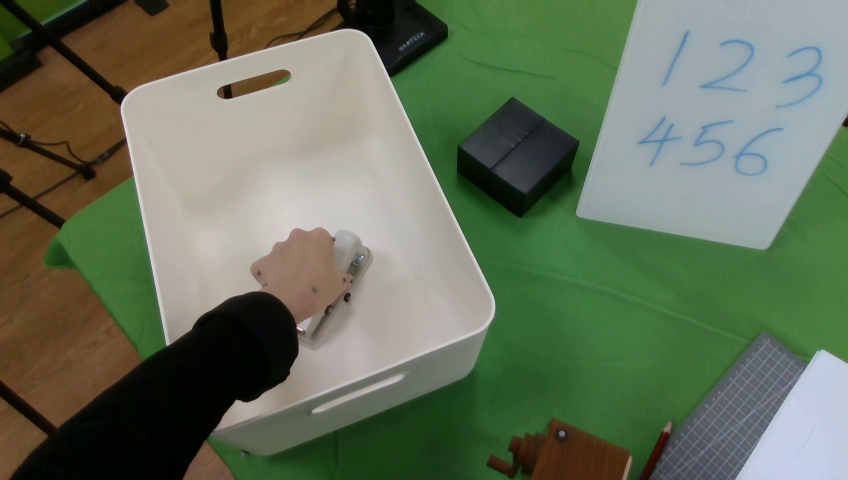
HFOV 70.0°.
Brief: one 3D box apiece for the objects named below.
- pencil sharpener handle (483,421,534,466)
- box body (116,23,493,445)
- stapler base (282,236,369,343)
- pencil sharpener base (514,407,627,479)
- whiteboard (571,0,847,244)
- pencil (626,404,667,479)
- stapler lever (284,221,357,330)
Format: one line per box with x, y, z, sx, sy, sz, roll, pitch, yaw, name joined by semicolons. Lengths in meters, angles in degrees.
0.071;0.175;0.525;0.030;0.068;0.036;22;49;12;pencil sharpener handle
-0.119;-0.009;0.605;0.254;0.161;0.360;-20;64;-9;box body
-0.105;0.044;0.648;0.041;0.024;0.130;22;67;16;stapler base
0.120;0.196;0.528;0.076;0.108;0.061;22;65;12;pencil sharpener base
0.300;-0.170;0.639;0.217;0.308;0.143;11;44;7;whiteboard
0.185;0.234;0.559;0.012;0.012;0.193;30;67;16;pencil
-0.107;0.034;0.624;0.026;0.040;0.117;22;68;16;stapler lever
